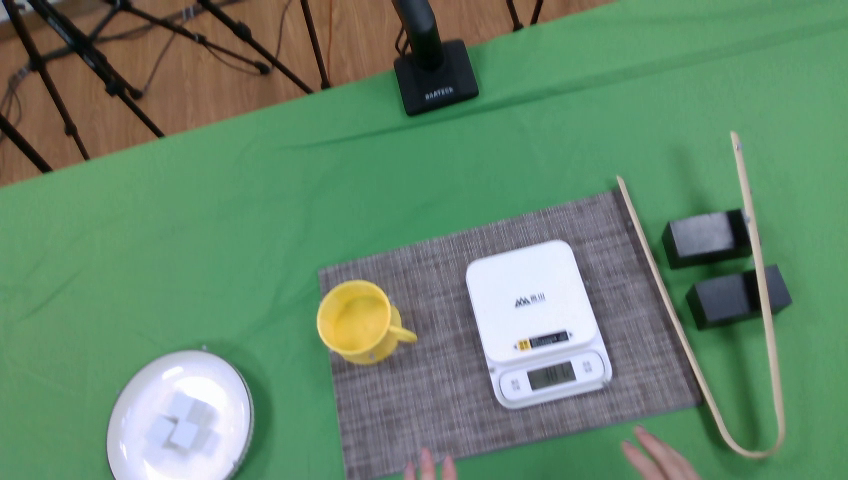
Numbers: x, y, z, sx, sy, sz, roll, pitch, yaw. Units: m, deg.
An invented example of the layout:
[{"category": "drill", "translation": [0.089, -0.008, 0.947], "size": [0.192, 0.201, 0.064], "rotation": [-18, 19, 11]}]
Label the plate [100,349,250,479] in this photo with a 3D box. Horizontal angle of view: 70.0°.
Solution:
[{"category": "plate", "translation": [-0.330, 0.253, 0.816], "size": [0.207, 0.039, 0.206], "rotation": [-3, 68, 9]}]

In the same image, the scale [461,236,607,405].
[{"category": "scale", "translation": [0.139, 0.101, 0.786], "size": [0.148, 0.032, 0.199], "rotation": [-16, 67, 5]}]

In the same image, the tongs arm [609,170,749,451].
[{"category": "tongs arm", "translation": [0.311, 0.074, 0.767], "size": [0.028, 0.028, 0.384], "rotation": [-27, 64, 26]}]

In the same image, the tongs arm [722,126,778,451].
[{"category": "tongs arm", "translation": [0.373, 0.049, 0.721], "size": [0.050, 0.027, 0.382], "rotation": [-15, 71, 34]}]

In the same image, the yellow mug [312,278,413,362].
[{"category": "yellow mug", "translation": [-0.077, 0.111, 0.804], "size": [0.130, 0.064, 0.099], "rotation": [13, 71, 14]}]
